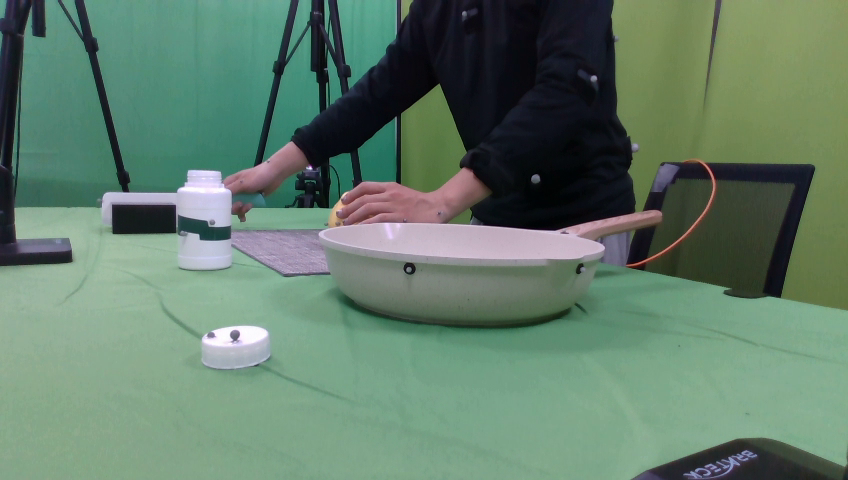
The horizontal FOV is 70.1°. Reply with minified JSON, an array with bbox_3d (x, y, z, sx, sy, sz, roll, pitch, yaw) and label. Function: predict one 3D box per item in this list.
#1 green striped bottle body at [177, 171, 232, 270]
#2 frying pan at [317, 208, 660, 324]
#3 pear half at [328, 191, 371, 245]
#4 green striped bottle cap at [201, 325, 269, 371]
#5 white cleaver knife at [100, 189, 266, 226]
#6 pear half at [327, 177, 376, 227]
[{"bbox_3d":[-0.273,-0.026,0.752,0.063,0.119,0.063,2,7,0],"label":"green striped bottle body"},{"bbox_3d":[0.121,0.006,0.691,0.490,0.102,0.305,-13,15,-33],"label":"frying pan"},{"bbox_3d":[-0.124,-0.037,0.976,0.071,0.088,0.031,-6,11,-25],"label":"pear half"},{"bbox_3d":[-0.129,0.073,0.415,0.044,0.020,0.044,3,8,0],"label":"green striped bottle cap"},{"bbox_3d":[-0.439,-0.061,1.121,0.288,0.066,0.021,-4,13,-27],"label":"white cleaver knife"},{"bbox_3d":[-0.110,-0.042,0.942,0.077,0.110,0.055,-6,13,-26],"label":"pear half"}]
